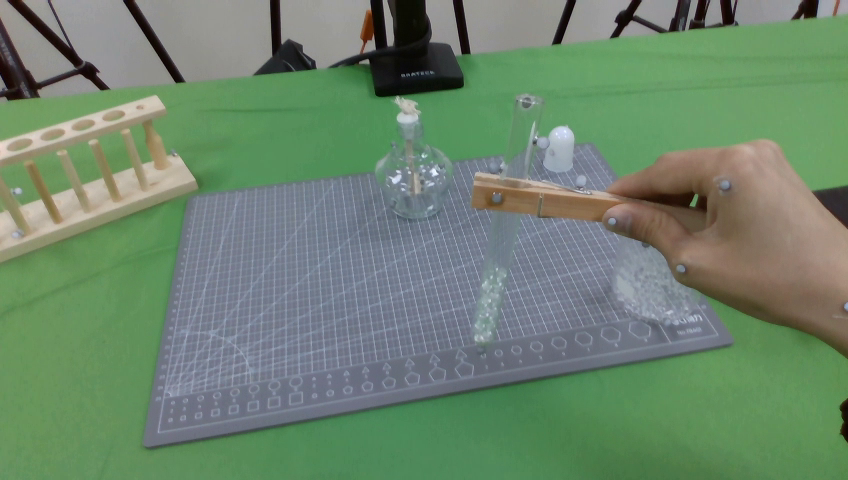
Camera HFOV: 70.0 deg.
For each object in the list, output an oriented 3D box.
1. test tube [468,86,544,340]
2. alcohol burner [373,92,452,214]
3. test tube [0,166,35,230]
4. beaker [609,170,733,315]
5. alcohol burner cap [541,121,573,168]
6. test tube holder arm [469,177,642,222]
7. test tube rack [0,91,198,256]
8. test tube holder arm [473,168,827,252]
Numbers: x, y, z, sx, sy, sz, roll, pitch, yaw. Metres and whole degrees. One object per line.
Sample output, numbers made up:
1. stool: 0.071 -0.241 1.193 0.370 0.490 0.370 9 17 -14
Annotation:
1. test tube: 0.043 -0.008 0.331 0.017 0.151 0.017 7 27 -3
2. alcohol burner: -0.012 -0.086 0.583 0.078 0.120 0.077 -3 41 3
3. test tube: -0.392 -0.070 0.543 0.017 0.152 0.017 -2 41 2
4. beaker: 0.189 0.004 0.485 0.074 0.101 0.083 -29 48 -26
5. alcohol burner cap: 0.144 -0.105 0.651 0.034 0.048 0.033 -1 42 2
6. test tube holder arm: 0.068 -0.021 0.316 0.088 0.015 0.010 6 30 1
7. test tube rack: -0.364 -0.062 0.600 0.242 0.086 0.066 -25 47 -23
8. test tube holder arm: 0.113 -0.017 0.316 0.178 0.015 0.013 10 31 8
